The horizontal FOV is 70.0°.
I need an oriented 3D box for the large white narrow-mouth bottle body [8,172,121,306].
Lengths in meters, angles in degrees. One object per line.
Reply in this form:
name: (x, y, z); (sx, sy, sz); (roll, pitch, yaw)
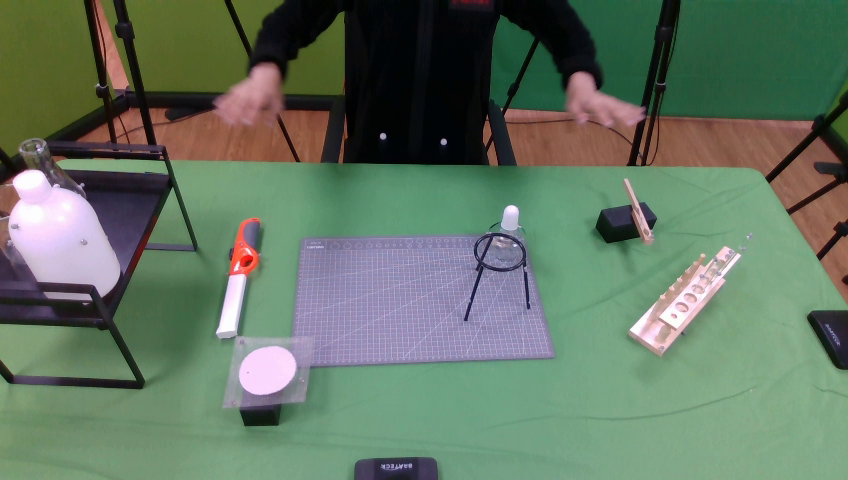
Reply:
large white narrow-mouth bottle body: (-0.479, -0.007, 0.798); (0.102, 0.195, 0.101); (2, 46, -2)

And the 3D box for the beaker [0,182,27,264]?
beaker: (-0.582, -0.019, 0.870); (0.074, 0.101, 0.083); (5, 46, 1)

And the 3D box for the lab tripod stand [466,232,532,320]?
lab tripod stand: (0.125, 0.059, 1.065); (0.148, 0.132, 0.147); (1, 45, 0)

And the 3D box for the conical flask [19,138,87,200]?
conical flask: (-0.576, -0.097, 0.930); (0.075, 0.122, 0.075); (2, 46, -2)

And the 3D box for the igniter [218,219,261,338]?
igniter: (-0.336, 0.060, 1.111); (0.057, 0.025, 0.274); (-8, 46, 4)

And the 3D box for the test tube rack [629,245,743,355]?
test tube rack: (0.474, 0.095, 1.091); (0.242, 0.085, 0.066); (-34, 56, -31)

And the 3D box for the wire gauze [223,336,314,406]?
wire gauze: (-0.236, 0.197, 0.931); (0.121, 0.011, 0.124); (1, 45, -4)

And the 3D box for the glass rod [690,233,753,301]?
glass rod: (0.507, 0.053, 1.041); (0.008, 0.200, 0.008); (5, 51, -6)

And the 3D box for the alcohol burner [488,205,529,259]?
alcohol burner: (0.163, -0.020, 1.158); (0.078, 0.120, 0.077); (1, 47, 0)

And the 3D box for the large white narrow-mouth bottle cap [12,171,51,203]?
large white narrow-mouth bottle cap: (-0.477, -0.065, 0.737); (0.038, 0.024, 0.037); (2, 46, -2)

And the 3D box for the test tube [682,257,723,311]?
test tube: (0.475, 0.080, 1.037); (0.017, 0.151, 0.017); (1, 51, -1)

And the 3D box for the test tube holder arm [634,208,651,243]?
test tube holder arm: (0.428, -0.030, 1.189); (0.010, 0.015, 0.087); (1, 47, -2)

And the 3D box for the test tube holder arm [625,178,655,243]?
test tube holder arm: (0.433, -0.062, 1.220); (0.013, 0.015, 0.177); (1, 47, -3)

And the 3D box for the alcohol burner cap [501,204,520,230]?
alcohol burner cap: (0.164, -0.046, 1.133); (0.034, 0.048, 0.033); (2, 40, -2)
